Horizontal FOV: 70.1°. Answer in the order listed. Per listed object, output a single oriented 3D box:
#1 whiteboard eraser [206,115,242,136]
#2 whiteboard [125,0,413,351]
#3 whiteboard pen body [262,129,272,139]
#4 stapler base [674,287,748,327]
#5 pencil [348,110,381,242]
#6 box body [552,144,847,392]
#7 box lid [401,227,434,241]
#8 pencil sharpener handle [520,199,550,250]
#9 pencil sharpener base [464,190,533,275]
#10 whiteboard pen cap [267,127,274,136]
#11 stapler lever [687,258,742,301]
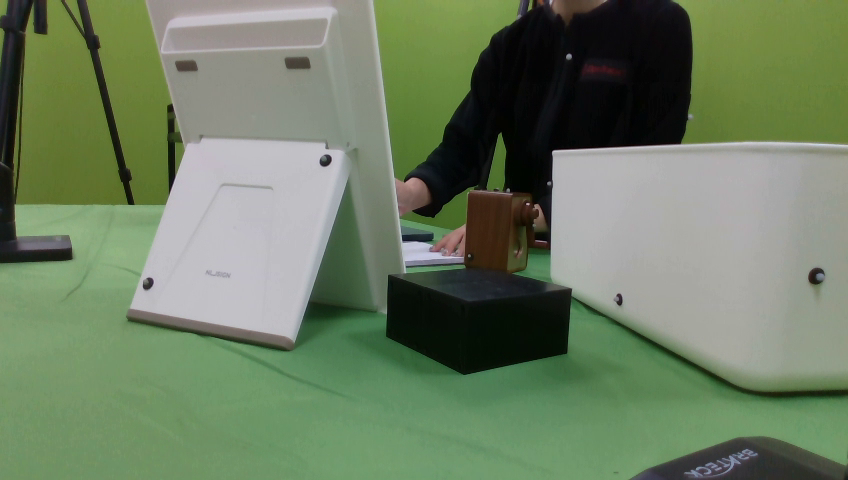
[{"bbox_3d":[-0.438,-0.249,1.320,0.056,0.042,0.112,-3,9,-30],"label":"whiteboard eraser"},{"bbox_3d":[-0.151,-0.050,0.471,0.216,0.305,0.144,6,27,24],"label":"whiteboard"},{"bbox_3d":[-0.361,-0.245,1.393,0.017,0.017,0.140,0,5,-20],"label":"whiteboard pen body"},{"bbox_3d":[0.281,0.061,0.586,0.041,0.024,0.131,10,8,37],"label":"stapler base"},{"bbox_3d":[-0.083,-0.091,0.856,0.012,0.193,0.012,-13,-5,-1],"label":"pencil"},{"bbox_3d":[0.290,0.002,0.549,0.255,0.160,0.363,2,7,-10],"label":"box body"},{"bbox_3d":[-0.196,-0.015,1.105,0.373,0.015,0.262,-1,7,-32],"label":"box lid"},{"bbox_3d":[0.147,-0.019,0.785,0.030,0.068,0.036,8,25,36],"label":"pencil sharpener handle"},{"bbox_3d":[0.102,-0.012,0.812,0.076,0.107,0.061,8,9,36],"label":"pencil sharpener base"},{"bbox_3d":[-0.340,-0.239,1.337,0.018,0.018,0.033,1,-1,-14],"label":"whiteboard pen cap"},{"bbox_3d":[0.283,0.035,0.585,0.026,0.040,0.119,11,8,37],"label":"stapler lever"}]
